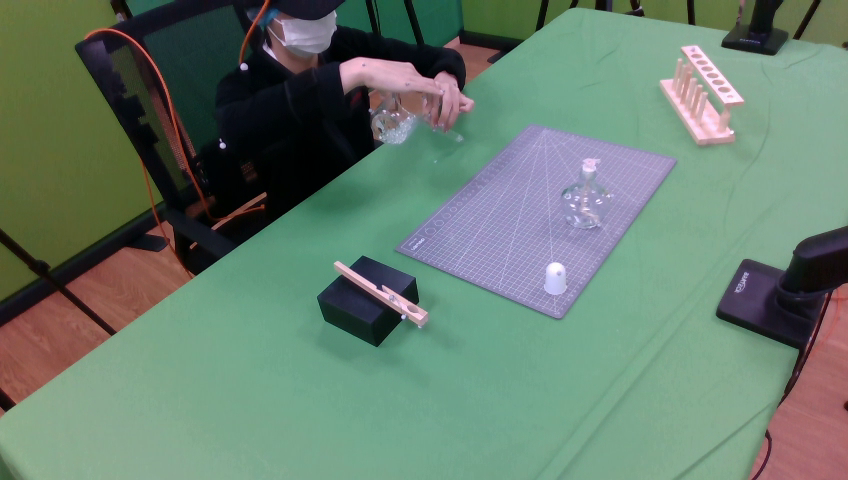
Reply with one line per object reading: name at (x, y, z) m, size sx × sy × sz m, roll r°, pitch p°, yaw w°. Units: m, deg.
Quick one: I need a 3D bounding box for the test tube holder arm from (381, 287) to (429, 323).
test tube holder arm at (-0.028, 0.087, 0.807) m, size 0.087 × 0.015 × 0.010 m, roll 25°, pitch 42°, yaw 33°

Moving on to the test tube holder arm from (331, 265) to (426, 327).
test tube holder arm at (-0.066, 0.074, 0.828) m, size 0.177 × 0.015 × 0.013 m, roll 25°, pitch 42°, yaw 33°

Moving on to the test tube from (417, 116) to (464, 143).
test tube at (0.033, -0.201, 1.115) m, size 0.017 × 0.017 × 0.151 m, roll 23°, pitch 7°, yaw 32°

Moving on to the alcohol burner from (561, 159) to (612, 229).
alcohol burner at (0.257, -0.077, 0.951) m, size 0.078 × 0.119 × 0.077 m, roll -3°, pitch 40°, yaw 3°

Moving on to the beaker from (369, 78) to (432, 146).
beaker at (-0.039, -0.207, 1.003) m, size 0.073 × 0.084 × 0.100 m, roll 4°, pitch 43°, yaw 32°

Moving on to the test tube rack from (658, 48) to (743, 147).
test tube rack at (0.532, -0.284, 1.181) m, size 0.067 × 0.085 × 0.241 m, roll -5°, pitch 40°, yaw 4°

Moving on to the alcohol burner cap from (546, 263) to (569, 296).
alcohol burner cap at (0.191, 0.053, 0.862) m, size 0.034 × 0.048 × 0.033 m, roll -5°, pitch 40°, yaw 4°
